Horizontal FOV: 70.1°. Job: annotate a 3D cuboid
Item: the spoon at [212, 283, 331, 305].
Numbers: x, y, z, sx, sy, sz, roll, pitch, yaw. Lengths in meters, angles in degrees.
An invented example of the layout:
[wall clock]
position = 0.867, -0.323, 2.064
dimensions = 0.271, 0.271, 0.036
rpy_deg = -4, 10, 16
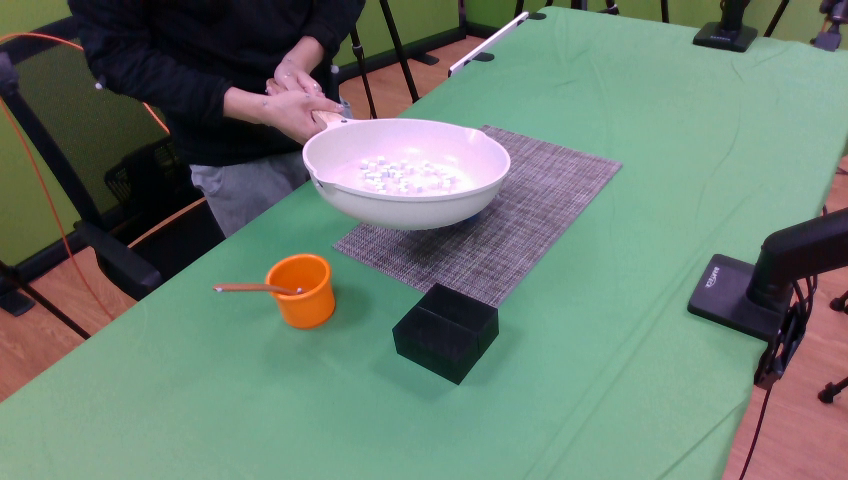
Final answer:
[spoon]
position = -0.201, 0.069, 0.819
dimensions = 0.041, 0.195, 0.021
rpy_deg = 31, 98, 37

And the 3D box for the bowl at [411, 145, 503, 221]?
[bowl]
position = 0.058, -0.086, 1.010
dimensions = 0.151, 0.077, 0.150
rpy_deg = -4, 41, 4

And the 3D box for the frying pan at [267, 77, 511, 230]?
[frying pan]
position = -0.095, -0.153, 0.920
dimensions = 0.309, 0.103, 0.484
rpy_deg = -23, 48, -39
